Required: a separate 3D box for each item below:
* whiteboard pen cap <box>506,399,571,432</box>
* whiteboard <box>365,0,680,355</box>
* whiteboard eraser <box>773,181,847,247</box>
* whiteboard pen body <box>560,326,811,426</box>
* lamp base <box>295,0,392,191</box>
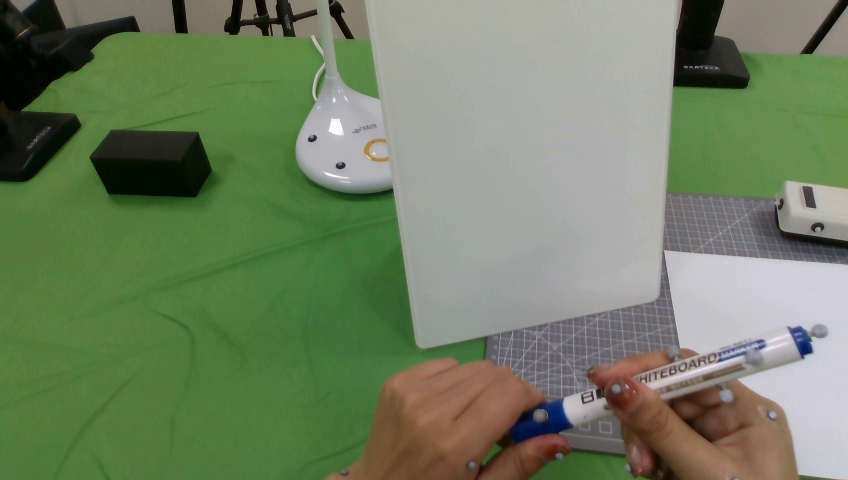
[{"bbox_3d":[0.061,0.092,0.318,0.033,0.018,0.018,-10,39,27],"label":"whiteboard pen cap"},{"bbox_3d":[0.071,-0.089,0.507,0.217,0.308,0.142,-10,26,-6],"label":"whiteboard"},{"bbox_3d":[0.390,-0.020,0.565,0.112,0.042,0.055,10,45,12],"label":"whiteboard eraser"},{"bbox_3d":[0.110,0.071,0.293,0.140,0.017,0.017,-26,39,23],"label":"whiteboard pen body"},{"bbox_3d":[-0.078,-0.171,0.645,0.160,0.182,0.177,-31,49,-26],"label":"lamp base"}]
